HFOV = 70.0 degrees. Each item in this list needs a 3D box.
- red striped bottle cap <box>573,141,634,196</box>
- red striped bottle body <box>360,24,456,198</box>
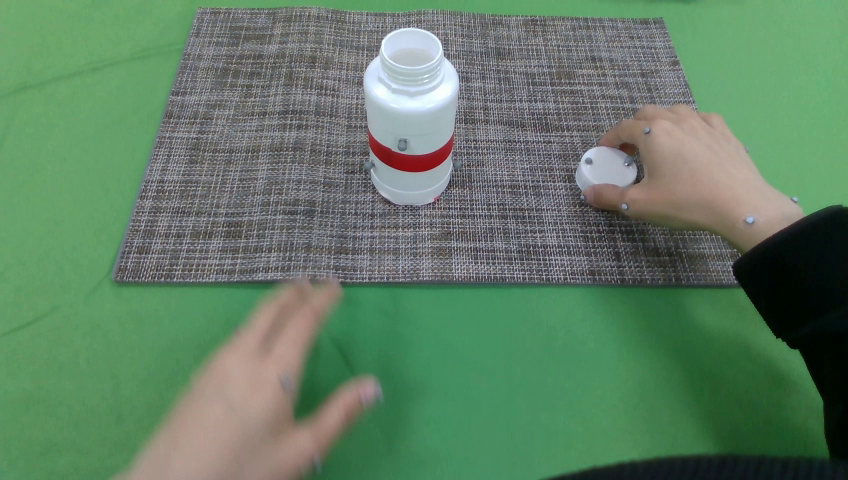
[{"bbox_3d":[0.139,-0.056,0.470,0.044,0.018,0.044,2,53,-2],"label":"red striped bottle cap"},{"bbox_3d":[-0.011,-0.088,0.421,0.063,0.120,0.062,1,57,-1],"label":"red striped bottle body"}]
